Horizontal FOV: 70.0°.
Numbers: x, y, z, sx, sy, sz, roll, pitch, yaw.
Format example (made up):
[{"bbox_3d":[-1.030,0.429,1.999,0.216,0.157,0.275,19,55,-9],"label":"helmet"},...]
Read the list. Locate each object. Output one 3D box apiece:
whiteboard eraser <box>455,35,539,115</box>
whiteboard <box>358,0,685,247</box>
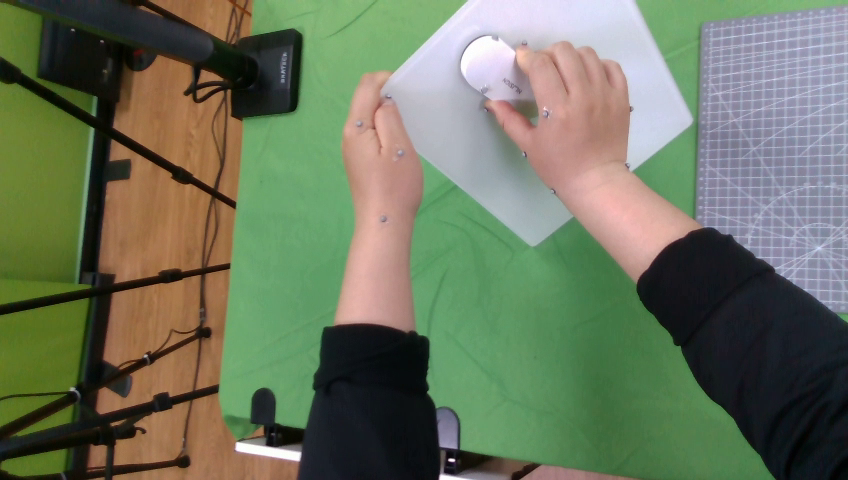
[{"bbox_3d":[0.062,-0.135,0.503,0.041,0.102,0.018,-51,54,16],"label":"whiteboard eraser"},{"bbox_3d":[0.088,-0.162,0.602,0.217,0.309,0.142,-40,50,16],"label":"whiteboard"}]
